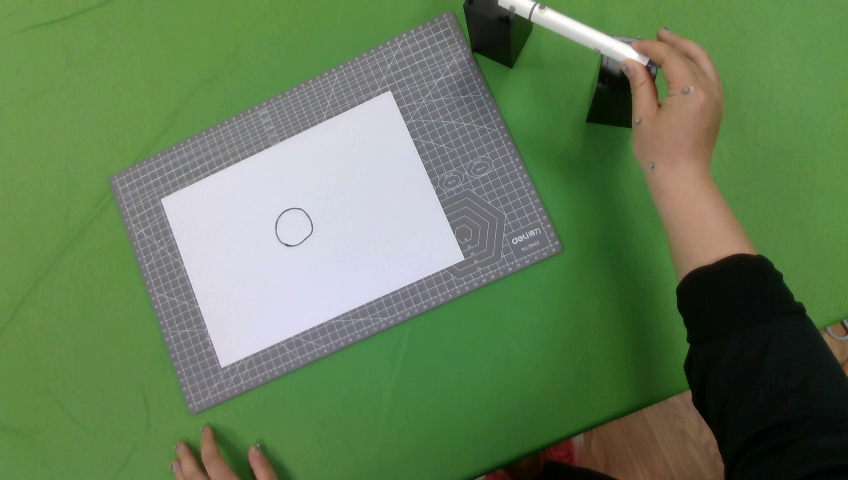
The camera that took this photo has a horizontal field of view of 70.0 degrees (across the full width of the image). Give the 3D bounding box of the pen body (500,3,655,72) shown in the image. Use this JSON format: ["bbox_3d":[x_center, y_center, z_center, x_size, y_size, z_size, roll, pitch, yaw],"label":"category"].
[{"bbox_3d":[0.132,-0.181,0.534,0.144,0.017,0.017,25,88,8],"label":"pen body"}]

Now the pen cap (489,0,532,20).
[{"bbox_3d":[0.079,-0.212,0.549,0.038,0.017,0.017,28,88,13],"label":"pen cap"}]
